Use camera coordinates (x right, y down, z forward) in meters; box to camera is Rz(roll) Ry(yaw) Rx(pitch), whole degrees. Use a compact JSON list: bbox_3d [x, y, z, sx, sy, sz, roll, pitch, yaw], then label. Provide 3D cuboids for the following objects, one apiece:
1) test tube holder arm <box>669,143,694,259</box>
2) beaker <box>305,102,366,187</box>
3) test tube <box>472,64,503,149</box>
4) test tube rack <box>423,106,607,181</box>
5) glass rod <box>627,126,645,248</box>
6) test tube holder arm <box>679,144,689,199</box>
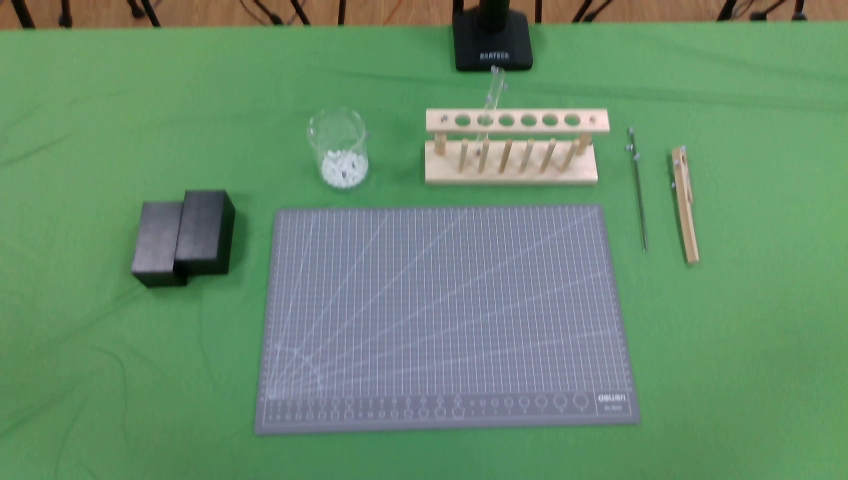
[{"bbox_3d":[0.355,-0.057,0.837,0.013,0.015,0.177,18,62,-25],"label":"test tube holder arm"},{"bbox_3d":[-0.115,-0.121,0.814,0.074,0.101,0.083,1,65,0],"label":"beaker"},{"bbox_3d":[0.082,-0.170,0.795,0.017,0.151,0.017,3,59,-4],"label":"test tube"},{"bbox_3d":[0.120,-0.131,0.833,0.242,0.086,0.066,0,64,-1],"label":"test tube rack"},{"bbox_3d":[0.298,-0.079,0.854,0.008,0.008,0.198,3,64,0],"label":"glass rod"},{"bbox_3d":[0.364,-0.095,0.858,0.010,0.015,0.087,18,61,-25],"label":"test tube holder arm"}]
